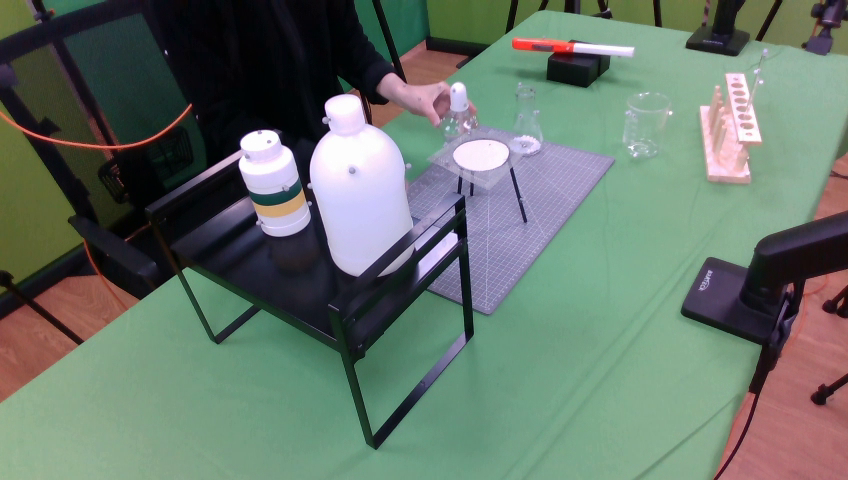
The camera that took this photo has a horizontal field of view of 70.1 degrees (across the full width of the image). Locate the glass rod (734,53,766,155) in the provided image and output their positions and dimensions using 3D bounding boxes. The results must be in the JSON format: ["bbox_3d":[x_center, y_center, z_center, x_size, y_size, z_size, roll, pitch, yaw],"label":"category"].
[{"bbox_3d":[0.540,-0.220,1.007,0.008,0.201,0.008,-5,45,6],"label":"glass rod"}]

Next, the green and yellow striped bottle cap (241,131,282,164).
[{"bbox_3d":[-0.187,-0.107,0.695,0.045,0.020,0.045,-3,39,3],"label":"green and yellow striped bottle cap"}]

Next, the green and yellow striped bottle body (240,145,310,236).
[{"bbox_3d":[-0.181,-0.068,0.729,0.063,0.120,0.063,-4,40,4],"label":"green and yellow striped bottle body"}]

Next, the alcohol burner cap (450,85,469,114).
[{"bbox_3d":[0.061,-0.247,1.054,0.034,0.048,0.033,-5,47,6],"label":"alcohol burner cap"}]

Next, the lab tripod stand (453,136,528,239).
[{"bbox_3d":[0.094,-0.086,0.974,0.148,0.132,0.147,-3,43,4],"label":"lab tripod stand"}]

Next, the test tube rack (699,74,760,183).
[{"bbox_3d":[0.547,-0.208,1.095,0.066,0.085,0.242,6,42,16],"label":"test tube rack"}]

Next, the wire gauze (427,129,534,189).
[{"bbox_3d":[0.086,-0.131,0.923,0.124,0.011,0.122,26,52,33],"label":"wire gauze"}]

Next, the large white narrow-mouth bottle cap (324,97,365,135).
[{"bbox_3d":[-0.076,-0.121,0.585,0.038,0.024,0.037,-3,42,3],"label":"large white narrow-mouth bottle cap"}]

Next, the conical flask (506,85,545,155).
[{"bbox_3d":[0.190,-0.227,1.134,0.075,0.122,0.075,-4,41,4],"label":"conical flask"}]

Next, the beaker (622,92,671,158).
[{"bbox_3d":[0.402,-0.210,1.106,0.074,0.101,0.083,-9,40,-2],"label":"beaker"}]

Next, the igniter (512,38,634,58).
[{"bbox_3d":[0.328,-0.433,1.360,0.275,0.025,0.057,12,33,20],"label":"igniter"}]

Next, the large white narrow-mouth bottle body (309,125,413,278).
[{"bbox_3d":[-0.069,-0.057,0.644,0.102,0.195,0.101,-3,42,4],"label":"large white narrow-mouth bottle body"}]

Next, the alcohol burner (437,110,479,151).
[{"bbox_3d":[0.061,-0.220,1.078,0.078,0.119,0.077,-1,43,1],"label":"alcohol burner"}]
